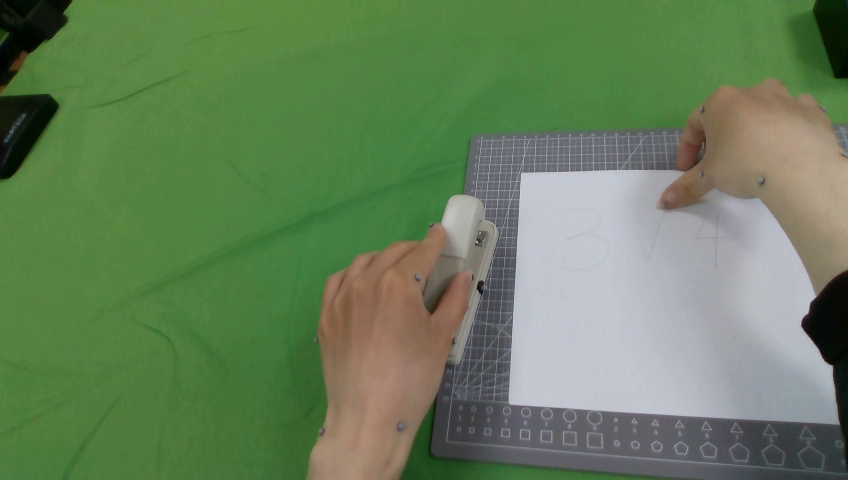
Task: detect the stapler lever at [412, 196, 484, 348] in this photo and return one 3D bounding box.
[{"bbox_3d":[0.019,0.020,0.449,0.026,0.040,0.117,9,60,20],"label":"stapler lever"}]

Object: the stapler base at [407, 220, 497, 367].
[{"bbox_3d":[0.023,0.032,0.471,0.041,0.025,0.130,9,60,20],"label":"stapler base"}]
